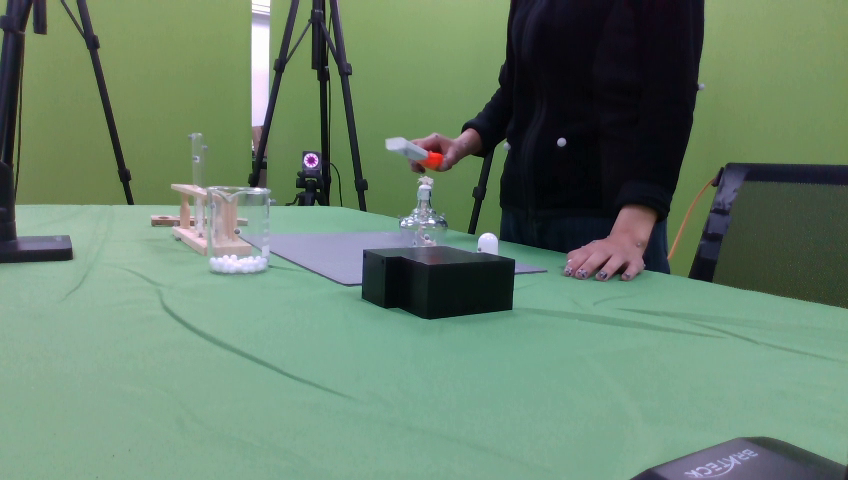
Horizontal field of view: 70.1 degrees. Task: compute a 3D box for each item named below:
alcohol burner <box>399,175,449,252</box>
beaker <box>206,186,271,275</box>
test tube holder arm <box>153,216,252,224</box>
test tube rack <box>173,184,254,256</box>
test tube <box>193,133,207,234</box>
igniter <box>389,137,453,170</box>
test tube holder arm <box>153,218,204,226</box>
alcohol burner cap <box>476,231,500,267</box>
[{"bbox_3d":[0.000,-0.041,0.937,0.078,0.119,0.078,0,7,0],"label":"alcohol burner"},{"bbox_3d":[-0.220,-0.012,0.717,0.074,0.100,0.084,2,8,-3],"label":"beaker"},{"bbox_3d":[-0.422,-0.038,1.159,0.179,0.015,0.013,-2,43,-31],"label":"test tube holder arm"},{"bbox_3d":[-0.328,-0.036,0.927,0.067,0.085,0.241,-2,9,-32],"label":"test tube rack"},{"bbox_3d":[-0.335,-0.084,0.904,0.017,0.150,0.017,-1,2,0],"label":"test tube"},{"bbox_3d":[0.001,-0.151,1.078,0.057,0.025,0.277,-4,-1,17],"label":"igniter"},{"bbox_3d":[-0.459,-0.034,1.132,0.088,0.015,0.010,-1,42,-29],"label":"test tube holder arm"},{"bbox_3d":[0.088,0.012,0.830,0.034,0.048,0.034,3,7,0],"label":"alcohol burner cap"}]
